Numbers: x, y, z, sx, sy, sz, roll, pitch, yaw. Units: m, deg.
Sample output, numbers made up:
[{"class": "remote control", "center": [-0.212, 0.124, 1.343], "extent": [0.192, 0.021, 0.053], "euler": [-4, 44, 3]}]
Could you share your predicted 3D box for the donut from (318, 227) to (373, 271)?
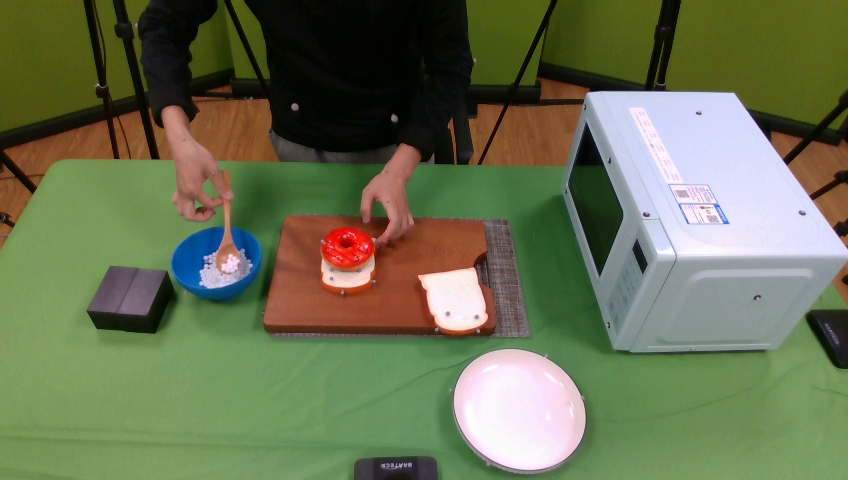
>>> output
[{"class": "donut", "center": [-0.142, 0.017, 1.096], "extent": [0.099, 0.048, 0.098], "euler": [2, 44, -2]}]

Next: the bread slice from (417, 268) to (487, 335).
[{"class": "bread slice", "center": [0.055, 0.107, 1.063], "extent": [0.107, 0.018, 0.133], "euler": [-9, 48, -12]}]

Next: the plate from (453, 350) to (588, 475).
[{"class": "plate", "center": [0.147, 0.267, 0.943], "extent": [0.208, 0.039, 0.206], "euler": [2, 45, -2]}]

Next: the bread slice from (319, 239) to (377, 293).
[{"class": "bread slice", "center": [-0.140, 0.044, 1.111], "extent": [0.105, 0.019, 0.130], "euler": [0, 44, -3]}]

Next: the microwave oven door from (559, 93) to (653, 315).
[{"class": "microwave oven door", "center": [0.327, -0.074, 1.123], "extent": [0.039, 0.245, 0.353], "euler": [-1, 46, -5]}]

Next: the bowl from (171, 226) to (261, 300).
[{"class": "bowl", "center": [-0.363, 0.054, 1.081], "extent": [0.151, 0.077, 0.150], "euler": [3, 45, -3]}]

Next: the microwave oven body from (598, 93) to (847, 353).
[{"class": "microwave oven body", "center": [0.475, -0.041, 1.109], "extent": [0.326, 0.261, 0.438], "euler": [-1, 45, -4]}]

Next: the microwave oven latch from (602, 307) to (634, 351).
[{"class": "microwave oven latch", "center": [0.332, 0.153, 1.044], "extent": [0.030, 0.029, 0.078], "euler": [-1, 45, -4]}]

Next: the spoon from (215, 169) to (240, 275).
[{"class": "spoon", "center": [-0.346, -0.034, 1.068], "extent": [0.042, 0.021, 0.193], "euler": [-1, 81, -16]}]
